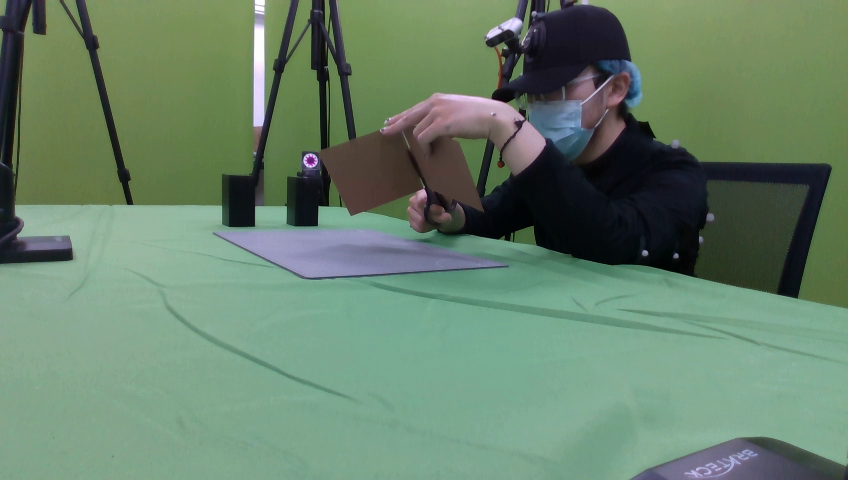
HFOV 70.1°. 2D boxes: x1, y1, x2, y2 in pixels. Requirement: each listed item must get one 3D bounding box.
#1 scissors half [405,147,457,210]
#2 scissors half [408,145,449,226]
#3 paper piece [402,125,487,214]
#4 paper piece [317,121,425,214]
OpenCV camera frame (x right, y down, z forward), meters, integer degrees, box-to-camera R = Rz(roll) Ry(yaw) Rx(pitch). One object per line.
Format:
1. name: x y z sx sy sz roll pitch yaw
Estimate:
1. scissors half: 0.014 -0.106 1.020 0.013 0.040 0.176 7 -23 37
2. scissors half: 0.003 -0.090 1.012 0.012 0.176 0.040 13 50 40
3. paper piece: 0.030 -0.109 0.916 0.137 0.136 0.008 22 57 44
4. paper piece: -0.082 -0.113 0.972 0.136 0.136 0.004 -20 37 4
